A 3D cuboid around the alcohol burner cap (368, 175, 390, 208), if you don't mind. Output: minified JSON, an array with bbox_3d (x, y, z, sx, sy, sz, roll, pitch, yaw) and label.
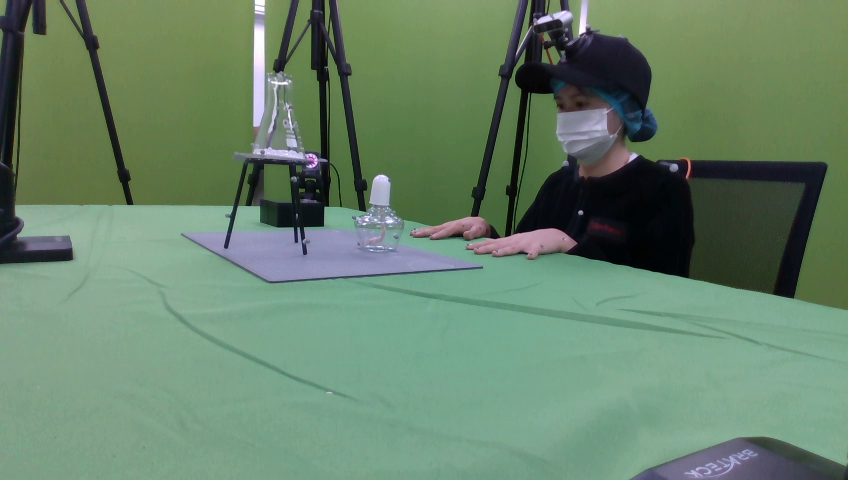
[{"bbox_3d":[-0.067,-0.075,0.923,0.034,0.048,0.034,8,11,-1],"label":"alcohol burner cap"}]

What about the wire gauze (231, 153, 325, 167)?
[{"bbox_3d":[-0.215,-0.117,0.882,0.125,0.011,0.121,3,7,-19],"label":"wire gauze"}]

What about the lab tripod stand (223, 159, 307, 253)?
[{"bbox_3d":[-0.220,-0.053,0.896,0.148,0.131,0.148,1,6,0],"label":"lab tripod stand"}]

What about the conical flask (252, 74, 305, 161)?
[{"bbox_3d":[-0.211,-0.176,0.879,0.075,0.122,0.075,3,6,0],"label":"conical flask"}]

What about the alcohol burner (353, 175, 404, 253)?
[{"bbox_3d":[-0.069,-0.040,0.927,0.078,0.119,0.078,1,9,0],"label":"alcohol burner"}]
